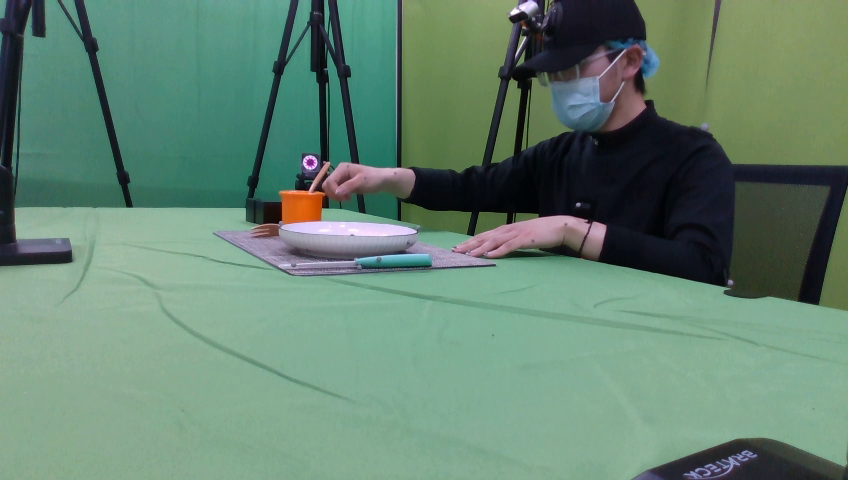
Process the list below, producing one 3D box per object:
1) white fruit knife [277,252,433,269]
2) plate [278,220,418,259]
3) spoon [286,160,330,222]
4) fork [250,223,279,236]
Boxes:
[{"bbox_3d":[-0.082,0.029,0.772,0.208,0.016,0.027,-3,-20,-22],"label":"white fruit knife"},{"bbox_3d":[-0.114,-0.002,0.914,0.209,0.038,0.209,2,8,0],"label":"plate"},{"bbox_3d":[-0.233,-0.101,1.252,0.041,0.193,0.022,1,-38,25],"label":"spoon"},{"bbox_3d":[-0.194,-0.014,1.051,0.208,0.028,0.018,3,37,-14],"label":"fork"}]
